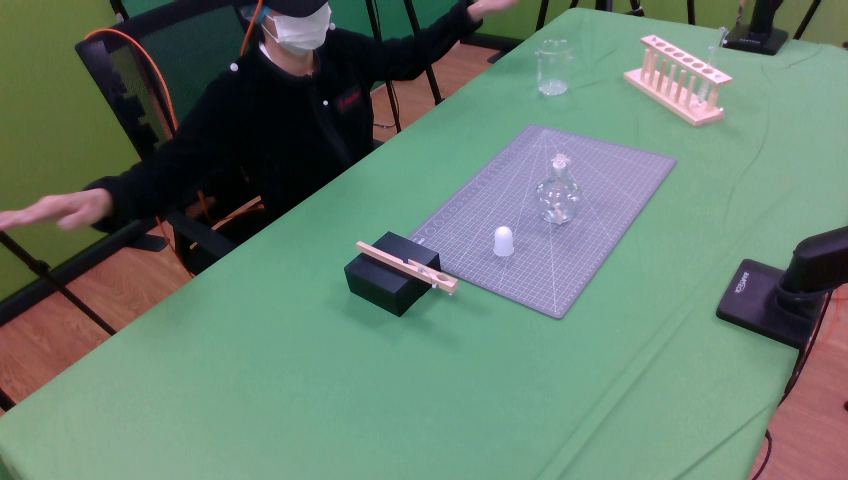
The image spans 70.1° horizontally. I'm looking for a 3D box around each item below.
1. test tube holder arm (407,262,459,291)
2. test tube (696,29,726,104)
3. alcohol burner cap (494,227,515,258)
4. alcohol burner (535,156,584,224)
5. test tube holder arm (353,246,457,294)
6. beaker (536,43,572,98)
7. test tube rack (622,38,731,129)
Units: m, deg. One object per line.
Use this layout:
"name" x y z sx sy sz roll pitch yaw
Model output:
"test tube holder arm" 0.010 0.051 0.845 0.087 0.015 0.010 19 37 29
"test tube" 0.544 -0.326 1.150 0.017 0.151 0.017 0 41 1
"alcohol burner cap" 0.124 0.001 0.936 0.034 0.048 0.033 -4 40 4
"alcohol burner" 0.217 -0.085 0.967 0.078 0.119 0.077 -3 41 3
"test tube holder arm" -0.031 0.040 0.863 0.177 0.015 0.013 19 37 28
"beaker" 0.280 -0.368 1.311 0.074 0.101 0.084 4 41 14
"test tube rack" 0.506 -0.325 1.234 0.067 0.085 0.240 -18 41 -11
